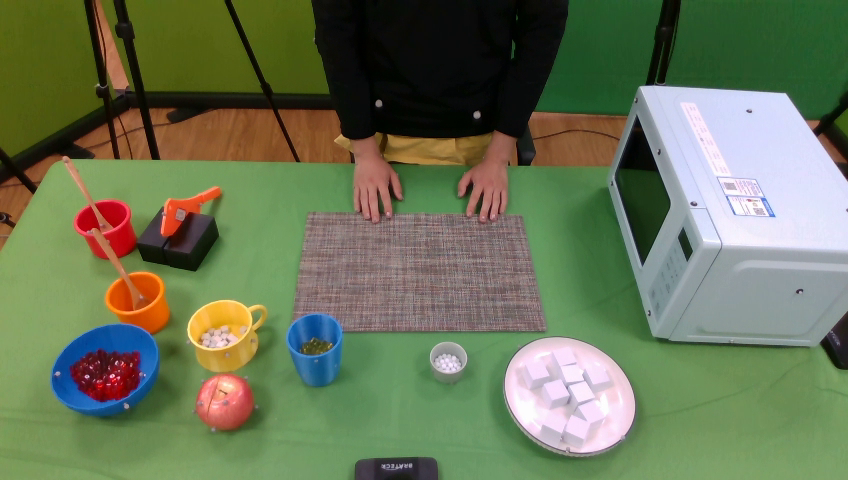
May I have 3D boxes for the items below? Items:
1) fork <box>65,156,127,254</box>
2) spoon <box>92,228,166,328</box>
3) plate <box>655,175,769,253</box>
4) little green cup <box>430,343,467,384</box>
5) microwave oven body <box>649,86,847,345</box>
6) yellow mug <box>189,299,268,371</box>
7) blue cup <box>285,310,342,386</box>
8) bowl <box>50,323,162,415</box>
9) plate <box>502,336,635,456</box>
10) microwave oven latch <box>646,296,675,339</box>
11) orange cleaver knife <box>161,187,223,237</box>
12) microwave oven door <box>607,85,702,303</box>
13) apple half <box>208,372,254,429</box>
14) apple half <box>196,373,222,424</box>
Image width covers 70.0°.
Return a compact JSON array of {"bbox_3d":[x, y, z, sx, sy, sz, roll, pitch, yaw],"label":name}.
[{"bbox_3d":[-0.614,-0.064,1.130,0.028,0.018,0.207,-29,96,-15],"label":"fork"},{"bbox_3d":[-0.495,0.063,1.014,0.041,0.194,0.021,-34,12,-31],"label":"spoon"},{"bbox_3d":[0.555,-0.047,1.183,0.209,0.038,0.208,2,46,-1],"label":"plate"},{"bbox_3d":[0.039,0.203,0.994,0.061,0.039,0.061,2,46,-2],"label":"little green cup"},{"bbox_3d":[0.568,-0.053,1.118,0.326,0.261,0.439,2,45,-1],"label":"microwave oven body"},{"bbox_3d":[-0.316,0.148,1.002,0.131,0.064,0.099,-32,56,-32],"label":"yellow mug"},{"bbox_3d":[-0.170,0.179,0.959,0.093,0.101,0.092,1,44,-1],"label":"blue cup"},{"bbox_3d":[-0.472,0.209,0.924,0.151,0.077,0.150,3,45,-2],"label":"bowl"},{"bbox_3d":[0.225,0.248,0.963,0.208,0.039,0.206,2,46,-2],"label":"plate"},{"bbox_3d":[0.412,0.134,1.061,0.030,0.029,0.078,4,45,1],"label":"microwave oven latch"},{"bbox_3d":[-0.448,-0.058,1.180,0.012,0.077,0.211,13,17,6],"label":"orange cleaver knife"},{"bbox_3d":[0.423,-0.094,1.141,0.039,0.245,0.353,2,46,-1],"label":"microwave oven door"},{"bbox_3d":[-0.283,0.244,0.908,0.053,0.075,0.080,7,42,-1],"label":"apple half"},{"bbox_3d":[-0.322,0.239,0.907,0.033,0.081,0.081,7,46,-1],"label":"apple half"}]
